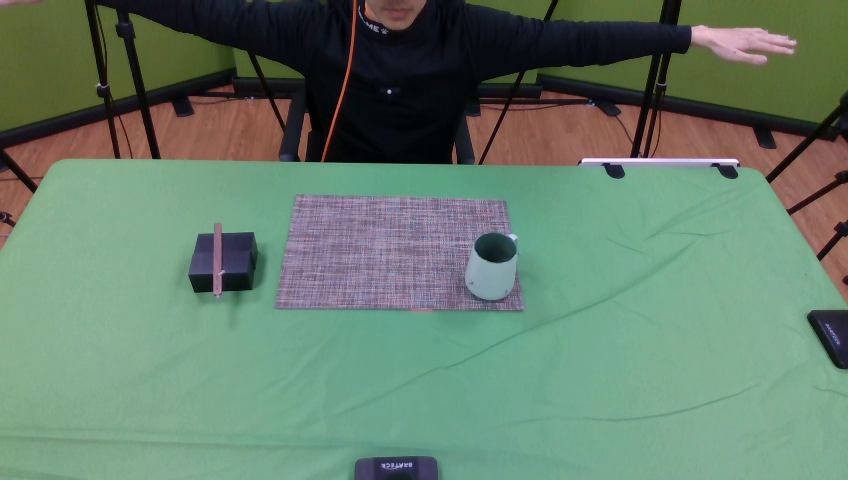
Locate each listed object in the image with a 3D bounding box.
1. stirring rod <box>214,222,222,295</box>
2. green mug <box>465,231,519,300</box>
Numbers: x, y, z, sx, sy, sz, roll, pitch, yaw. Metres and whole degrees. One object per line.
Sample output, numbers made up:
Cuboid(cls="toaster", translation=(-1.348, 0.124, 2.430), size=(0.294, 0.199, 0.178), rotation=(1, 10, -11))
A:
Cuboid(cls="stirring rod", translation=(-0.368, 0.030, 1.083), size=(0.014, 0.006, 0.175), rotation=(-10, 48, -9))
Cuboid(cls="green mug", translation=(0.134, 0.037, 1.108), size=(0.092, 0.105, 0.125), rotation=(30, 52, 23))
